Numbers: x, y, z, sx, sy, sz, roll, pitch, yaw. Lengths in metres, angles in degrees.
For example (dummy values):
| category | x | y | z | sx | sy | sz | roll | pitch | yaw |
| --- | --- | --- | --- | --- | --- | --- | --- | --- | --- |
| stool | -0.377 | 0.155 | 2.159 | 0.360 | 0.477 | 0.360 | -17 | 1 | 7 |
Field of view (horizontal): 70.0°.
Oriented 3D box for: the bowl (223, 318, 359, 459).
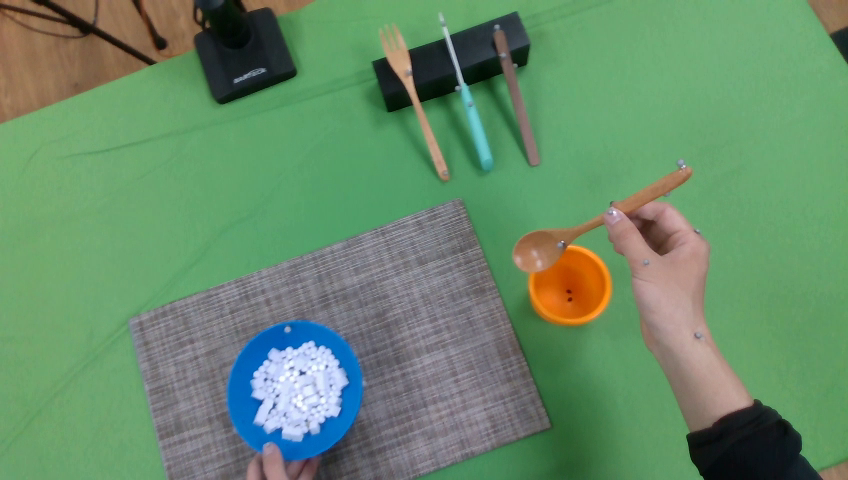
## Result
| category | x | y | z | sx | sy | sz | roll | pitch | yaw |
| --- | --- | --- | --- | --- | --- | --- | --- | --- | --- |
| bowl | -0.143 | 0.170 | 0.698 | 0.151 | 0.077 | 0.150 | -1 | 76 | 4 |

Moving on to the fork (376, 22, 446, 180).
| category | x | y | z | sx | sy | sz | roll | pitch | yaw |
| --- | --- | --- | --- | --- | --- | --- | --- | --- | --- |
| fork | -0.013 | -0.175 | 0.772 | 0.028 | 0.018 | 0.207 | -22 | 96 | -4 |

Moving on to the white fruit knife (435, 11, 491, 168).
| category | x | y | z | sx | sy | sz | roll | pitch | yaw |
| --- | --- | --- | --- | --- | --- | --- | --- | --- | --- |
| white fruit knife | 0.047 | -0.192 | 0.772 | 0.016 | 0.027 | 0.207 | -19 | 92 | -4 |

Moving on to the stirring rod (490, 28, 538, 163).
| category | x | y | z | sx | sy | sz | roll | pitch | yaw |
| --- | --- | --- | --- | --- | --- | --- | --- | --- | --- |
| stirring rod | 0.116 | -0.184 | 0.776 | 0.014 | 0.006 | 0.176 | -18 | 96 | -2 |

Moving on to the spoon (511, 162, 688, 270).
| category | x | y | z | sx | sy | sz | roll | pitch | yaw |
| --- | --- | --- | --- | --- | --- | --- | --- | --- | --- |
| spoon | 0.151 | -0.018 | 0.547 | 0.021 | 0.193 | 0.041 | -36 | 92 | -43 |
